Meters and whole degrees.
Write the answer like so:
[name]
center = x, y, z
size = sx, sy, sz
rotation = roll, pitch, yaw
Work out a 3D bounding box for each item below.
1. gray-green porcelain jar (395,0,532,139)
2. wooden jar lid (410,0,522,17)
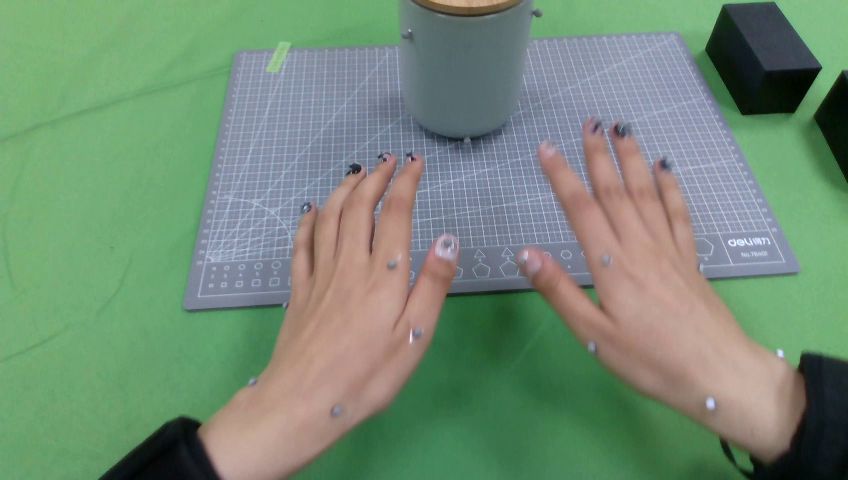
[gray-green porcelain jar]
center = 0.031, -0.157, 0.504
size = 0.106, 0.127, 0.105
rotation = 0, 53, 0
[wooden jar lid]
center = 0.030, -0.197, 0.452
size = 0.108, 0.021, 0.107
rotation = 0, 55, 1
